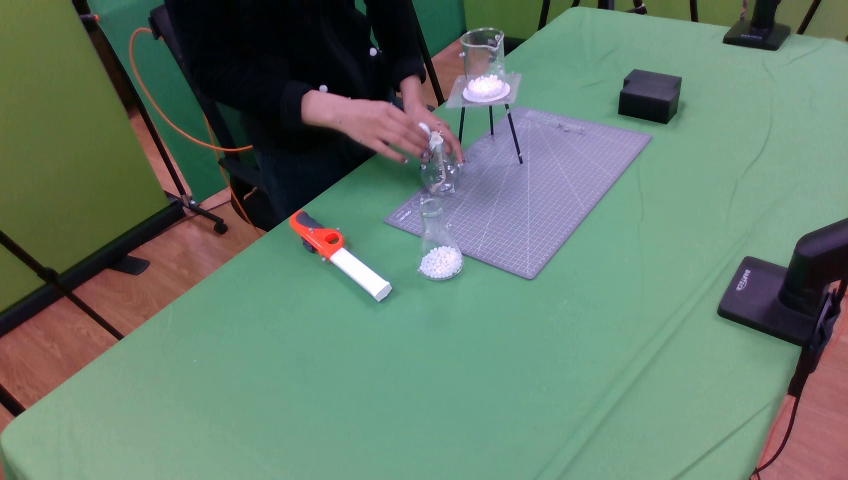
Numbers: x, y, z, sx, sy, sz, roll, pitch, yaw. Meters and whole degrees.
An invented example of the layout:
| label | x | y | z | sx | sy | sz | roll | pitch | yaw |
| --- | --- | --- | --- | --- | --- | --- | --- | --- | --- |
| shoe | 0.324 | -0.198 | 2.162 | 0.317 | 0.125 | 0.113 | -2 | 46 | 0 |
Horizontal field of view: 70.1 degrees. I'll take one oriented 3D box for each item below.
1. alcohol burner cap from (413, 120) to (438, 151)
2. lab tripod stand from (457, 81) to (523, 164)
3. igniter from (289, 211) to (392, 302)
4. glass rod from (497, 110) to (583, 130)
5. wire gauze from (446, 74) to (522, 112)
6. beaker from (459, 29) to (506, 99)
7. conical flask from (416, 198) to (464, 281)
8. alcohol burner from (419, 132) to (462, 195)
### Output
| label | x | y | z | sx | sy | sz | roll | pitch | yaw |
| --- | --- | --- | --- | --- | --- | --- | --- | --- | --- |
| alcohol burner cap | 0.000 | -0.173 | 0.987 | 0.034 | 0.048 | 0.033 | -13 | 42 | 12 |
| lab tripod stand | 0.120 | -0.219 | 1.130 | 0.148 | 0.132 | 0.147 | -7 | 39 | 6 |
| igniter | -0.145 | 0.019 | 0.986 | 0.057 | 0.025 | 0.274 | -40 | 48 | -18 |
| glass rod | 0.233 | -0.245 | 1.235 | 0.198 | 0.008 | 0.008 | 20 | 49 | 35 |
| wire gauze | 0.110 | -0.268 | 1.087 | 0.121 | 0.011 | 0.125 | 1 | 43 | 15 |
| beaker | 0.107 | -0.305 | 1.056 | 0.074 | 0.101 | 0.083 | -27 | 43 | -18 |
| conical flask | 0.019 | -0.004 | 0.907 | 0.075 | 0.122 | 0.075 | -5 | 40 | 5 |
| alcohol burner | 0.028 | -0.139 | 1.068 | 0.078 | 0.119 | 0.077 | -4 | 40 | 4 |
